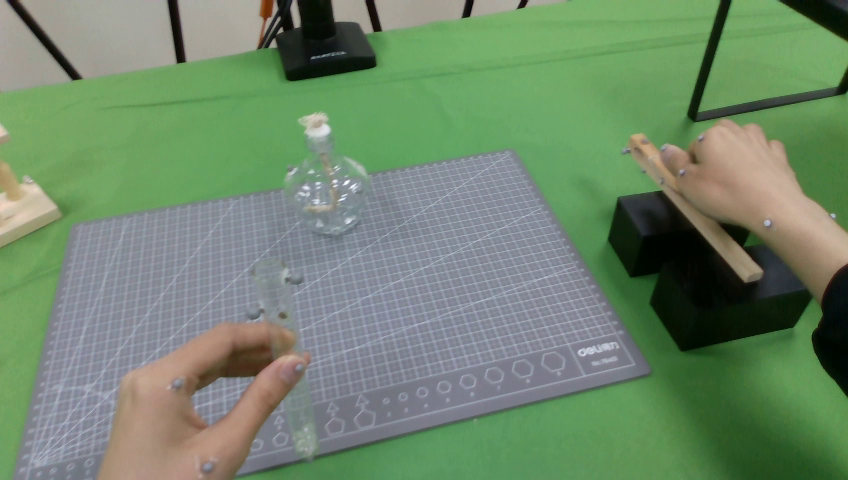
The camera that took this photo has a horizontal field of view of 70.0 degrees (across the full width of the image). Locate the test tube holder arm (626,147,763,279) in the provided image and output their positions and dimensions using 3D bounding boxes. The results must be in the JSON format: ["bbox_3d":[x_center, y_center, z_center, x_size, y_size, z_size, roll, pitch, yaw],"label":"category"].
[{"bbox_3d":[0.219,-0.030,0.505,0.015,0.013,0.176,-6,42,-14],"label":"test tube holder arm"}]

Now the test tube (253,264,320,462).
[{"bbox_3d":[-0.070,0.073,0.323,0.017,0.151,0.017,0,39,0],"label":"test tube"}]

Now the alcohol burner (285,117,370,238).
[{"bbox_3d":[-0.088,-0.060,0.545,0.078,0.120,0.077,0,45,0],"label":"alcohol burner"}]

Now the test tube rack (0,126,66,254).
[{"bbox_3d":[-0.462,-0.003,0.525,0.066,0.086,0.242,34,54,31],"label":"test tube rack"}]

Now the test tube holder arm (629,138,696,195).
[{"bbox_3d":[0.208,-0.063,0.533,0.015,0.010,0.087,-6,43,-14],"label":"test tube holder arm"}]
